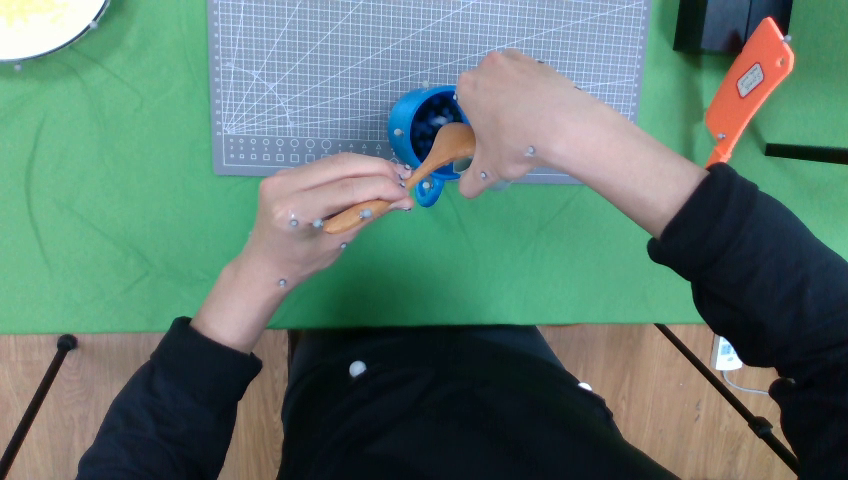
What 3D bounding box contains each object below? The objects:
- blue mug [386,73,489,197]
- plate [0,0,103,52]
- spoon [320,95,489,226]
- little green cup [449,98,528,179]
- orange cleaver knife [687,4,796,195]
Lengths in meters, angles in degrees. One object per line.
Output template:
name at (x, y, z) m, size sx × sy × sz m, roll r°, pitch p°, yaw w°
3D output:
blue mug at (0.009, -0.099, 0.583) m, size 0.083 × 0.105 × 0.117 m, roll 8°, pitch 102°, yaw -14°
plate at (-0.359, -0.262, 0.493) m, size 0.210 × 0.038 × 0.210 m, roll -3°, pitch 106°, yaw -12°
spoon at (-0.008, -0.060, 0.440) m, size 0.041 × 0.022 × 0.193 m, roll 40°, pitch 54°, yaw 6°
little green cup at (0.055, -0.083, 0.505) m, size 0.061 × 0.061 × 0.039 m, roll -48°, pitch 126°, yaw 3°
orange cleaver knife at (0.331, -0.143, 0.658) m, size 0.012 × 0.076 × 0.213 m, roll -1°, pitch 135°, yaw -13°
